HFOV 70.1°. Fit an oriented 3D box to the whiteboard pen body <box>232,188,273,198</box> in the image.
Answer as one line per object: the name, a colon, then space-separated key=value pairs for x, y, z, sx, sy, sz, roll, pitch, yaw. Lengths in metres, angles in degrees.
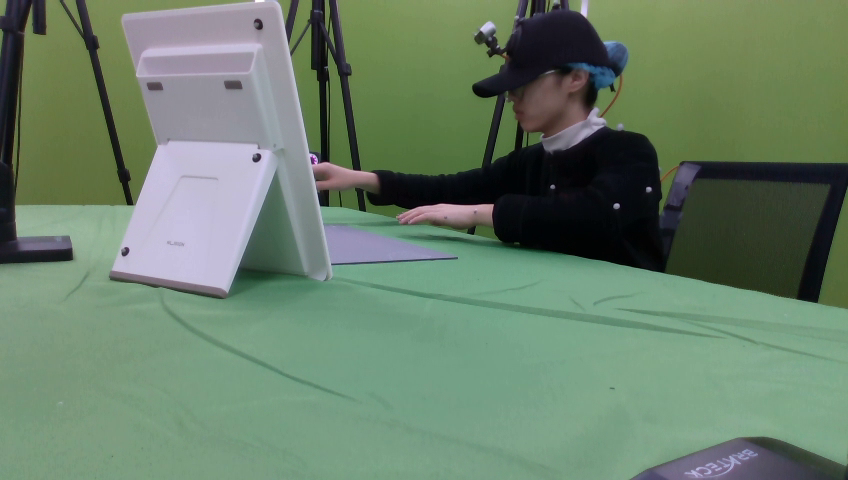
whiteboard pen body: x=-0.370 y=-0.101 z=1.303 sx=0.017 sy=0.017 sz=0.141 roll=4 pitch=8 yaw=18

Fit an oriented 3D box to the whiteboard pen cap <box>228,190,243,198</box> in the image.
whiteboard pen cap: x=-0.388 y=-0.096 z=1.248 sx=0.018 sy=0.018 sz=0.033 roll=4 pitch=8 yaw=18

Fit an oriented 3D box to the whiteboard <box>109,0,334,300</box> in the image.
whiteboard: x=-0.247 y=-0.072 z=0.624 sx=0.216 sy=0.305 sz=0.144 roll=6 pitch=28 yaw=26
